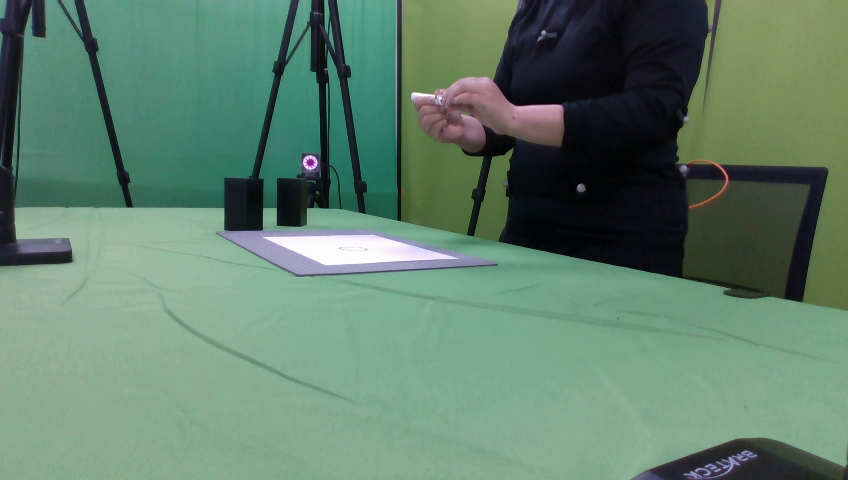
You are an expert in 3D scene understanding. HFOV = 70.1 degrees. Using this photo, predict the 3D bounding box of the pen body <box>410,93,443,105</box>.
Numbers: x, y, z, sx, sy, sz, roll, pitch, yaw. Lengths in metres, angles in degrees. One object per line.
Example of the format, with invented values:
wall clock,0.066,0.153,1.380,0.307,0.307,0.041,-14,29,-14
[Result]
pen body,0.012,-0.256,1.099,0.017,0.017,0.143,-1,15,-27

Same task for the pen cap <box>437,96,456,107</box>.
pen cap,0.039,-0.240,1.046,0.017,0.017,0.038,-2,6,-34
